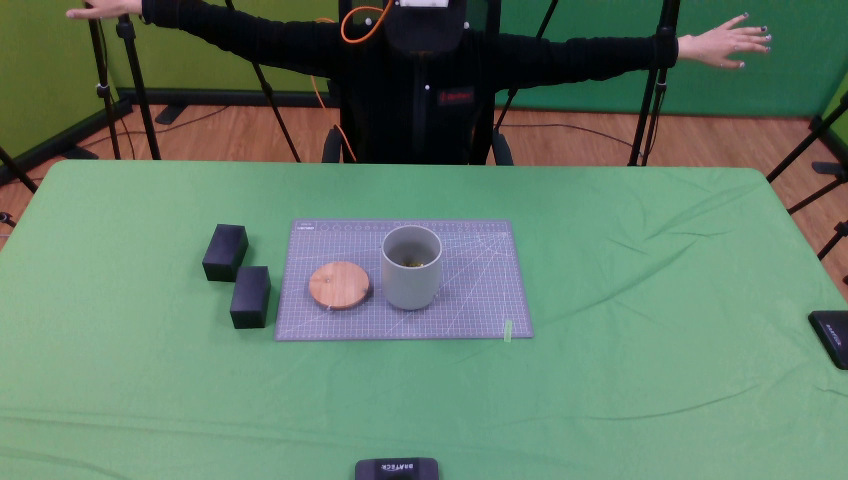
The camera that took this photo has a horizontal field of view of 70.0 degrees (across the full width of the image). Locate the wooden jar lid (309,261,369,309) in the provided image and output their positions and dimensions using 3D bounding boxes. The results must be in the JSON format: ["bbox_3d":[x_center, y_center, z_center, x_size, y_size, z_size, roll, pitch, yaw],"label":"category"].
[{"bbox_3d":[-0.155,0.084,1.104,0.108,0.021,0.107,3,47,-3],"label":"wooden jar lid"}]

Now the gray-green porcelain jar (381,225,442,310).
[{"bbox_3d":[-0.023,0.053,1.068,0.106,0.127,0.105,2,46,-2],"label":"gray-green porcelain jar"}]
